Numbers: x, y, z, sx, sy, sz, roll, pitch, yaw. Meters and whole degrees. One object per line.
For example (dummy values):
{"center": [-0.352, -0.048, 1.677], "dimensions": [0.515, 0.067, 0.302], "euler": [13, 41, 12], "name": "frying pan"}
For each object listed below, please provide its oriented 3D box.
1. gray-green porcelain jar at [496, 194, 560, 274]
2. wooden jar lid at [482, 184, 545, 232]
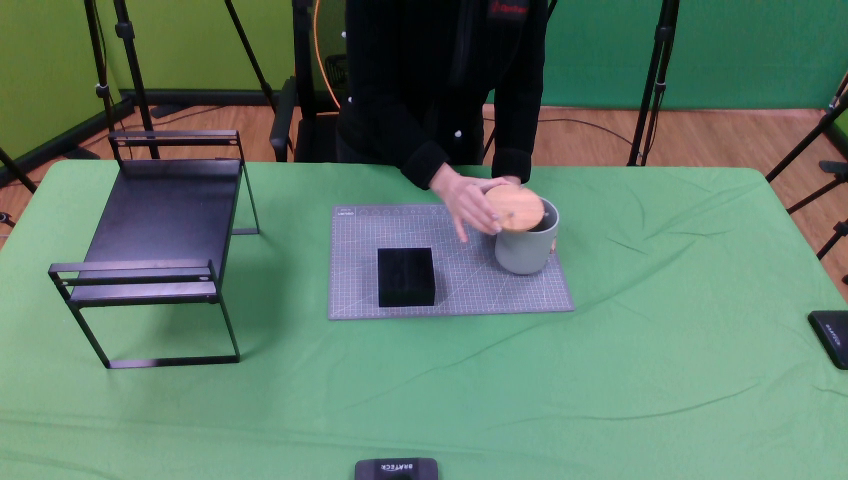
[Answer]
{"center": [0.192, -0.008, 1.140], "dimensions": [0.106, 0.127, 0.105], "euler": [2, 47, -1], "name": "gray-green porcelain jar"}
{"center": [0.154, -0.054, 1.053], "dimensions": [0.108, 0.021, 0.107], "euler": [3, 49, -4], "name": "wooden jar lid"}
